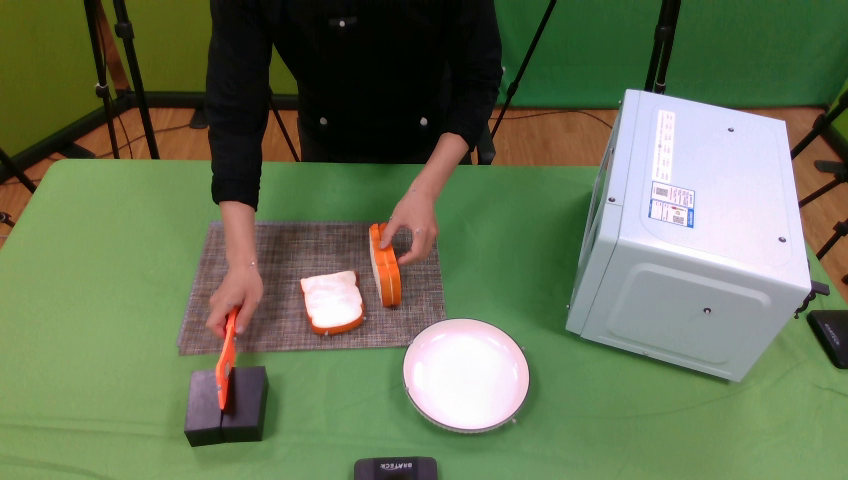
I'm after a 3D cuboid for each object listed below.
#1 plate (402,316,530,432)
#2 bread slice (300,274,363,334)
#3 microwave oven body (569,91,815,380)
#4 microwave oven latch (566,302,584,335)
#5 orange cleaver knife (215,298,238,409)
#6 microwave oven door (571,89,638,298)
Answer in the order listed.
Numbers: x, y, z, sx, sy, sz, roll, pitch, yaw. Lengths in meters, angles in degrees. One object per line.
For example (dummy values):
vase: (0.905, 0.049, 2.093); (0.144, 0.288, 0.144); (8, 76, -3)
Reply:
plate: (0.066, 0.217, 0.982); (0.208, 0.039, 0.206); (2, 46, -2)
bread slice: (-0.164, 0.113, 1.076); (0.107, 0.018, 0.133); (-11, 39, -7)
microwave oven body: (0.468, -0.022, 1.082); (0.325, 0.261, 0.440); (15, 46, 11)
microwave oven latch: (0.268, 0.126, 1.059); (0.030, 0.029, 0.079); (16, 46, 12)
orange cleaver knife: (-0.308, 0.173, 0.955); (0.012, 0.077, 0.210); (-4, 30, -8)
microwave oven door: (0.343, -0.091, 1.132); (0.039, 0.245, 0.354); (15, 47, 10)
